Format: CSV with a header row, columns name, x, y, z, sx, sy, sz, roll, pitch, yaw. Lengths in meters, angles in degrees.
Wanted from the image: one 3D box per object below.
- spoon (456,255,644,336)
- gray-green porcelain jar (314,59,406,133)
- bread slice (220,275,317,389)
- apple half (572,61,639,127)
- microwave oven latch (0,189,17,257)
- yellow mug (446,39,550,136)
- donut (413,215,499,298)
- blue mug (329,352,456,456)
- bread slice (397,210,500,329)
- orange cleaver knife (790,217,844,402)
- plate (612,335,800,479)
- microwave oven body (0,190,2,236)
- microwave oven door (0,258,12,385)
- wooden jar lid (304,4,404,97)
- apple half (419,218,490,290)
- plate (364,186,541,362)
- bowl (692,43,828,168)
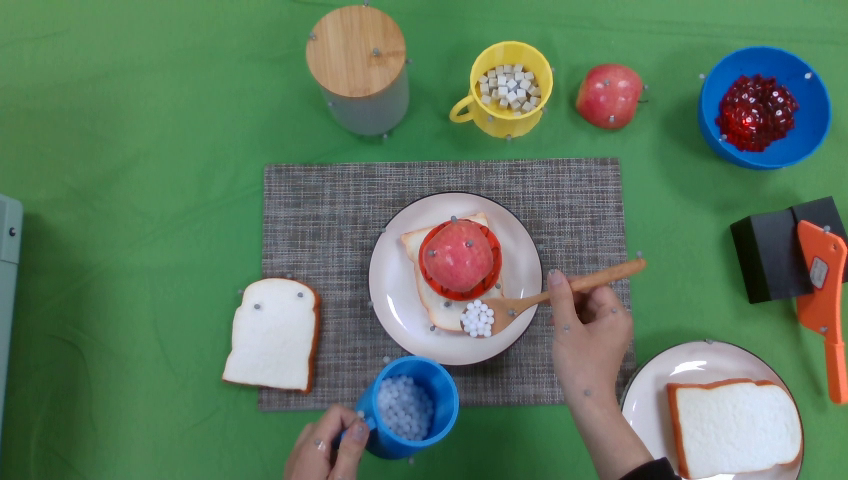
name,x,y,z,sx,sy,sz,roll,pitch,yaw
spoon,0.118,0.053,0.591,0.193,0.022,0.041,-23,70,26
gray-green porcelain jar,-0.075,-0.193,0.725,0.106,0.127,0.105,0,79,1
bread slice,-0.184,0.107,0.725,0.105,0.019,0.131,6,81,1
apple half,0.230,-0.189,0.758,0.074,0.053,0.080,21,81,7
microwave oven latch,-0.511,-0.021,0.724,0.030,0.029,0.079,3,81,1
yellow mug,0.087,-0.182,0.752,0.131,0.064,0.099,-25,80,-3
donut,0.037,0.019,0.699,0.099,0.048,0.098,0,80,1
blue mug,-0.038,0.169,0.589,0.117,0.106,0.082,-20,72,-24
bread slice,0.038,0.038,0.725,0.107,0.018,0.133,-17,81,-2
orange cleaver knife,0.450,0.079,0.694,0.012,0.077,0.212,-12,102,-8
plate,0.317,0.214,0.694,0.209,0.038,0.208,0,80,1
microwave oven body,-0.657,0.138,0.600,0.326,0.261,0.440,-1,80,0
microwave oven door,-0.512,0.177,0.587,0.039,0.244,0.354,-1,80,1
wooden jar lid,-0.076,-0.205,0.664,0.108,0.021,0.108,0,78,1
apple half,0.035,0.014,0.664,0.081,0.033,0.081,-1,81,7
plate,0.034,0.040,0.724,0.208,0.039,0.207,0,80,1
bowl,0.392,-0.151,0.737,0.151,0.077,0.151,0,80,1
